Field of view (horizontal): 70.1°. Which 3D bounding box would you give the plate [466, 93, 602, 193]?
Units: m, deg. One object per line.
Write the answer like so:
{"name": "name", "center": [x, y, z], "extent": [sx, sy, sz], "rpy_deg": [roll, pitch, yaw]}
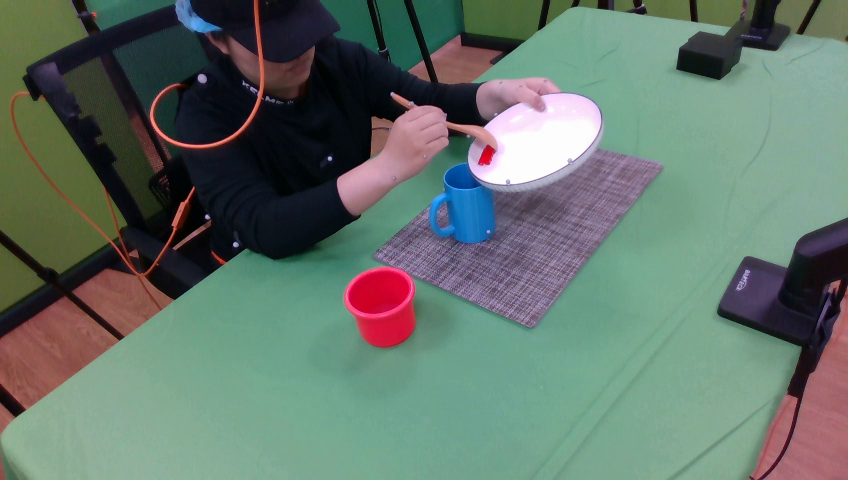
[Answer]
{"name": "plate", "center": [0.166, -0.141, 0.910], "extent": [0.207, 0.039, 0.206], "rpy_deg": [-18, 40, 17]}

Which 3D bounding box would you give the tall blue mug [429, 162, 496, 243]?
{"name": "tall blue mug", "center": [0.067, -0.051, 0.961], "extent": [0.077, 0.108, 0.107], "rpy_deg": [18, 47, 28]}

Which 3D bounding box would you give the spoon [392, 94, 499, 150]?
{"name": "spoon", "center": [0.036, -0.179, 0.917], "extent": [0.195, 0.021, 0.041], "rpy_deg": [16, 37, -24]}
